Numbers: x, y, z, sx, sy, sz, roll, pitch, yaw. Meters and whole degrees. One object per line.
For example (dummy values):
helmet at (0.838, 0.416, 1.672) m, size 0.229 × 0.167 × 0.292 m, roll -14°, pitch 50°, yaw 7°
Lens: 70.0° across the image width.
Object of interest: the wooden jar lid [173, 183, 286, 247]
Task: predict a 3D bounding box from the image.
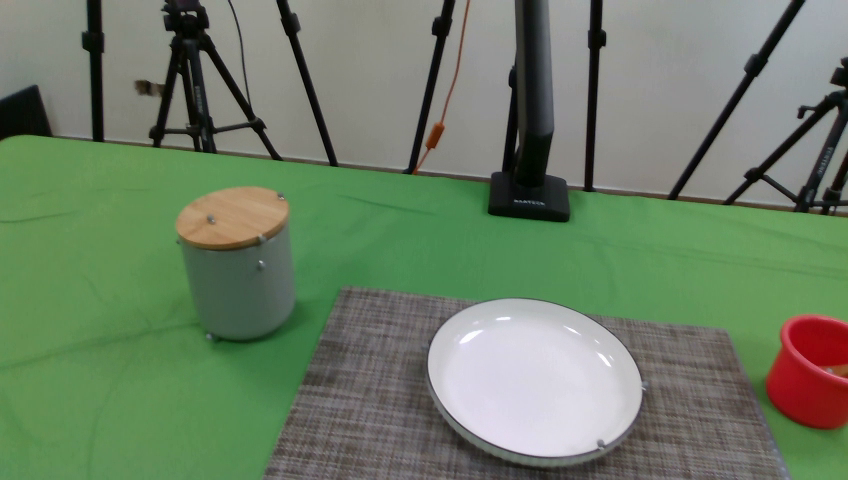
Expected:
wooden jar lid at (-0.192, -0.022, 0.606) m, size 0.108 × 0.021 × 0.107 m, roll 0°, pitch 35°, yaw 0°

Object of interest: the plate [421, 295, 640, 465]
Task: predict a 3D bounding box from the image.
plate at (0.099, 0.134, 0.591) m, size 0.208 × 0.039 × 0.205 m, roll 3°, pitch 34°, yaw -2°

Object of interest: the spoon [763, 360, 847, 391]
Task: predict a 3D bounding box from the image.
spoon at (0.421, 0.113, 0.564) m, size 0.193 × 0.022 × 0.041 m, roll -28°, pitch 11°, yaw 42°

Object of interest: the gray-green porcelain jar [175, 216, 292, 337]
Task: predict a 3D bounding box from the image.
gray-green porcelain jar at (-0.197, 0.030, 0.642) m, size 0.106 × 0.127 × 0.105 m, roll 3°, pitch 35°, yaw -1°
